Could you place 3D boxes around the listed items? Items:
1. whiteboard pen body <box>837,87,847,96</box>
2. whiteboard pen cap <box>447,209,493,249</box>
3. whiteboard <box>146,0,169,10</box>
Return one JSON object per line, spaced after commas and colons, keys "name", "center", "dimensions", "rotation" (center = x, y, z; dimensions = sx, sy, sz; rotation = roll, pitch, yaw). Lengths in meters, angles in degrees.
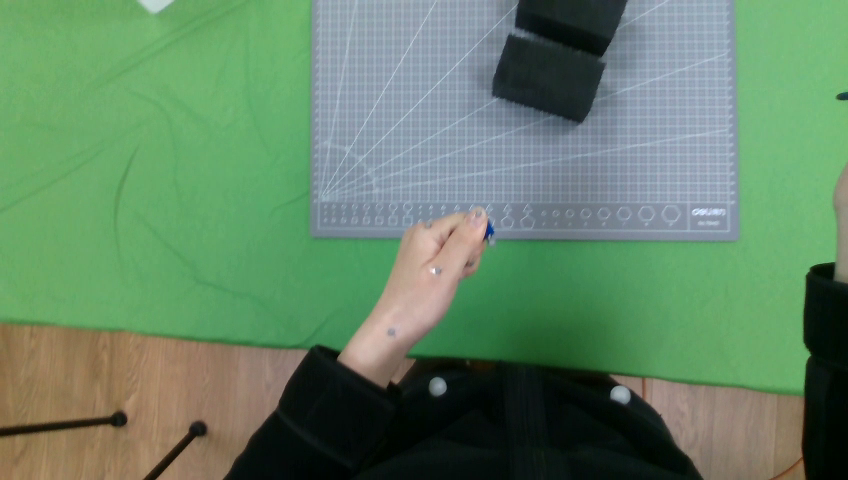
{"name": "whiteboard pen body", "center": [0.300, -0.087, 0.320], "dimensions": [0.140, 0.017, 0.017], "rotation": [-3, 87, 19]}
{"name": "whiteboard pen cap", "center": [0.035, -0.008, 0.444], "dimensions": [0.033, 0.018, 0.018], "rotation": [-32, 85, 16]}
{"name": "whiteboard", "center": [-0.292, -0.423, 0.567], "dimensions": [0.217, 0.308, 0.142], "rotation": [-35, 65, 3]}
